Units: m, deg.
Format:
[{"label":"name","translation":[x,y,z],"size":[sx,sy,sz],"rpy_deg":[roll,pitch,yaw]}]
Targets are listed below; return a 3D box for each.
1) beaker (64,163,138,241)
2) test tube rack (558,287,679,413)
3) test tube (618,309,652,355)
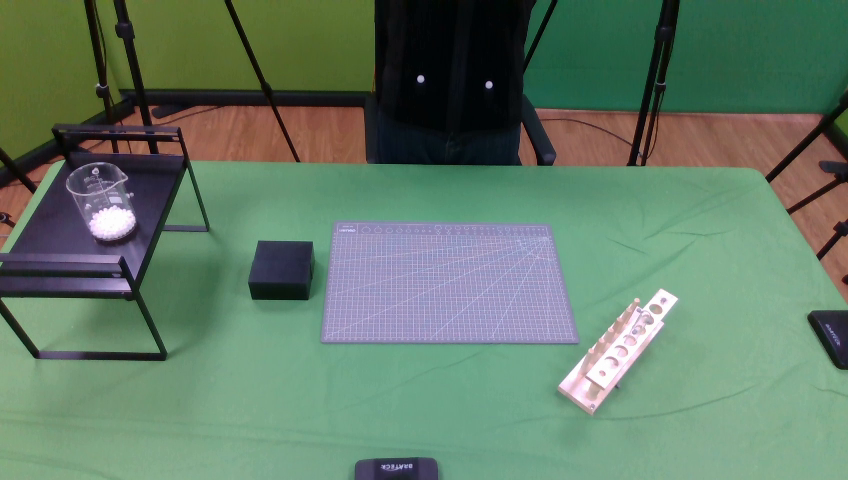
[{"label":"beaker","translation":[-0.478,-0.055,0.910],"size":[0.084,0.101,0.073],"rpy_deg":[-9,48,-13]},{"label":"test tube rack","translation":[0.326,0.170,1.009],"size":[0.066,0.085,0.242],"rpy_deg":[35,54,26]},{"label":"test tube","translation":[0.328,0.155,0.955],"size":[0.017,0.151,0.017],"rpy_deg":[1,50,-1]}]
